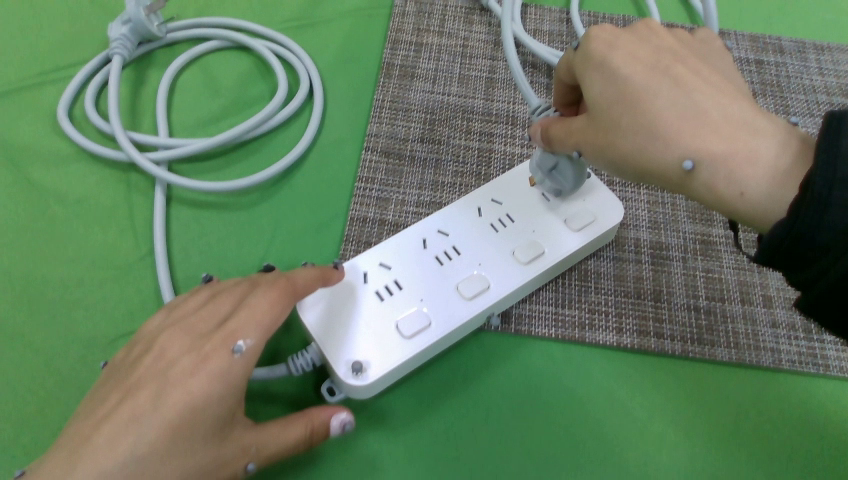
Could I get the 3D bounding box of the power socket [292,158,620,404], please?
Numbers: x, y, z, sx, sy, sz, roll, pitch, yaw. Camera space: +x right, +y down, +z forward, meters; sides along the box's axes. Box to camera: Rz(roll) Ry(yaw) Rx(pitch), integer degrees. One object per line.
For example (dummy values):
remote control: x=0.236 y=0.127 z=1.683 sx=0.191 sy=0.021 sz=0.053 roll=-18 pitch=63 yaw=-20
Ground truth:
power socket: x=0.025 y=0.015 z=0.373 sx=0.227 sy=0.033 sz=0.071 roll=-30 pitch=66 yaw=-19

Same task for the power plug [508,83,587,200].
power plug: x=0.075 y=-0.058 z=0.378 sx=0.035 sy=0.053 sz=0.072 roll=-15 pitch=68 yaw=-22
